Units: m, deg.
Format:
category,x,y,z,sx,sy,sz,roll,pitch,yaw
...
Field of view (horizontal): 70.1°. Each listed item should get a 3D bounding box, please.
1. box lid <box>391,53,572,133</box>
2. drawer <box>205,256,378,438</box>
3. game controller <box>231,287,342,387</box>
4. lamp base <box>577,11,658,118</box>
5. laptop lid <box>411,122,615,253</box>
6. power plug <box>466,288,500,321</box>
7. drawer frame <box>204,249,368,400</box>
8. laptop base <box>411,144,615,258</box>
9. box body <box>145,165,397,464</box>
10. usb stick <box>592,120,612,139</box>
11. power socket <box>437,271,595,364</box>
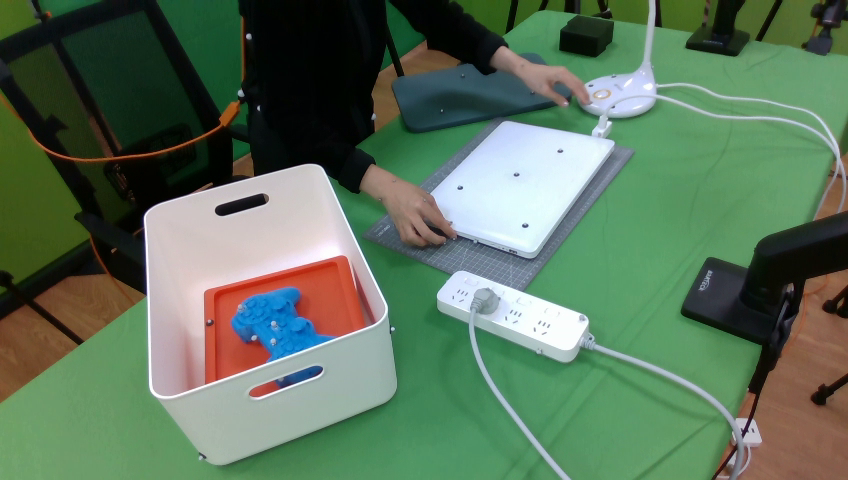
category,x,y,z,sx,sy,sz,roll,pitch,yaw
box lid,0.123,-0.339,1.366,0.372,0.015,0.261,-12,40,-5
drawer,-0.177,0.130,0.787,0.195,0.073,0.210,-14,39,-9
game controller,-0.167,0.110,0.734,0.097,0.052,0.154,-35,47,-22
lamp base,0.406,-0.363,1.222,0.180,0.181,0.159,-20,42,-18
laptop lid,0.164,-0.112,1.068,0.240,0.013,0.357,19,46,30
power plug,0.072,0.093,0.813,0.073,0.053,0.035,-37,49,-28
drawer frame,-0.174,0.129,0.790,0.202,0.083,0.212,-16,45,-8
laptop base,0.167,-0.102,1.074,0.234,0.023,0.355,16,45,30
box body,-0.205,0.080,0.802,0.255,0.161,0.361,-18,41,-13
usb stick,0.335,-0.203,1.149,0.021,0.027,0.059,25,53,26
power socket,0.118,0.102,0.830,0.225,0.033,0.072,20,48,28
